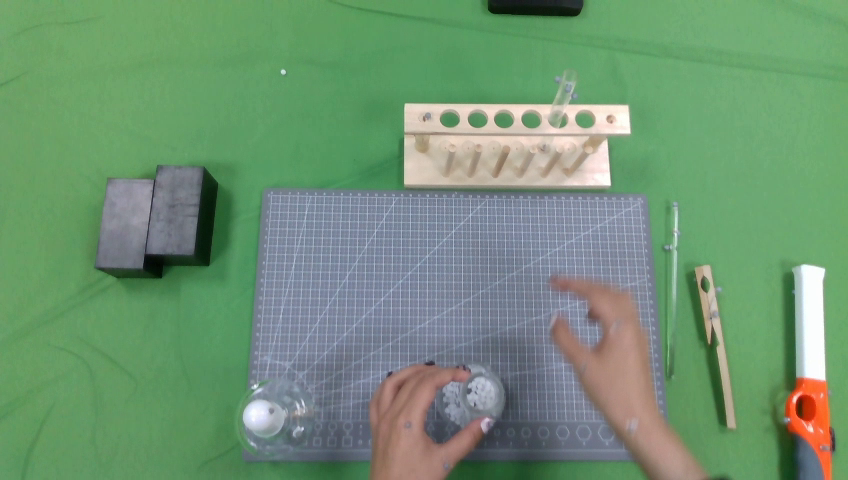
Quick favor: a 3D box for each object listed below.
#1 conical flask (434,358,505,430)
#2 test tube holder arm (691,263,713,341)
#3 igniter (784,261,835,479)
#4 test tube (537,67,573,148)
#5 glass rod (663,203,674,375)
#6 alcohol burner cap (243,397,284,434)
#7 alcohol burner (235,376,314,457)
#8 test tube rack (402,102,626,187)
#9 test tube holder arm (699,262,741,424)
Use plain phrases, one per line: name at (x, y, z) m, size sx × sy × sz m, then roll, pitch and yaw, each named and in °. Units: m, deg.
conical flask at (0.050, 0.150, 0.595) m, size 0.075 × 0.122 × 0.075 m, roll 1°, pitch 75°, yaw -2°
test tube holder arm at (0.316, 0.070, 0.684) m, size 0.010 × 0.015 × 0.087 m, roll -15°, pitch 74°, yaw 31°
igniter at (0.418, 0.158, 0.659) m, size 0.057 × 0.025 × 0.275 m, roll 11°, pitch 75°, yaw -9°
test tube at (0.137, -0.136, 0.644) m, size 0.017 × 0.151 × 0.017 m, roll -1°, pitch 73°, yaw 2°
glass rod at (0.279, 0.053, 0.690) m, size 0.008 × 0.008 × 0.199 m, roll 7°, pitch 77°, yaw 0°
alcohol burner cap at (-0.148, 0.158, 0.553) m, size 0.034 × 0.048 × 0.033 m, roll 1°, pitch 67°, yaw -2°
alcohol burner at (-0.149, 0.170, 0.587) m, size 0.078 × 0.119 × 0.077 m, roll 0°, pitch 74°, yaw 0°
test tube rack at (0.096, -0.106, 0.686) m, size 0.242 × 0.085 × 0.066 m, roll 0°, pitch 75°, yaw -2°
test tube holder arm at (0.326, 0.112, 0.670) m, size 0.013 × 0.015 × 0.177 m, roll -16°, pitch 73°, yaw 31°
